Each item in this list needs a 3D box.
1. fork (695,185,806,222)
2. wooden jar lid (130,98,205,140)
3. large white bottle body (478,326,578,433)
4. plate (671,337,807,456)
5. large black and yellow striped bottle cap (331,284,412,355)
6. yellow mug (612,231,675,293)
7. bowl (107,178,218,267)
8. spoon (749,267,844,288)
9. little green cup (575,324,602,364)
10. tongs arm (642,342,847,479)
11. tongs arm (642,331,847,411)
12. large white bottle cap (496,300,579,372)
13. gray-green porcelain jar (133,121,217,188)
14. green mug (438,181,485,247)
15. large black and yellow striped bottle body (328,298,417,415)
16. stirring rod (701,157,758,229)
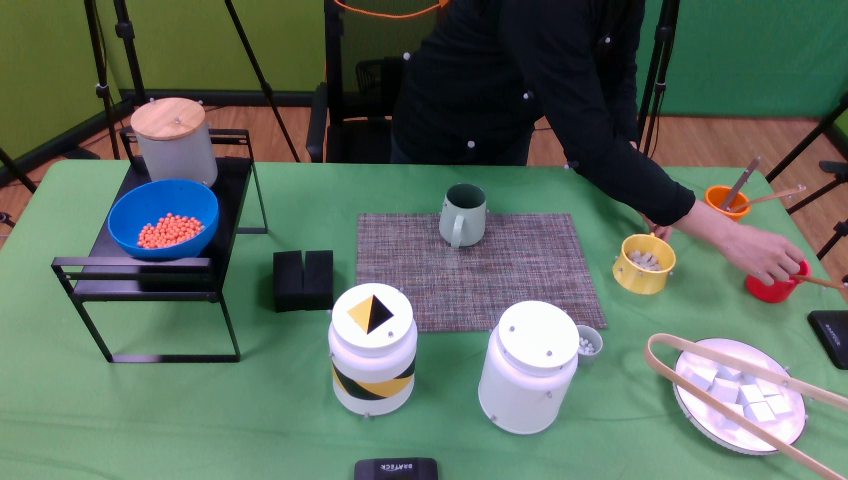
[{"bbox_3d":[0.657,-0.074,1.229,0.207,0.019,0.028,-23,35,37],"label":"fork"},{"bbox_3d":[-0.393,-0.183,0.934,0.108,0.021,0.107,3,44,-2],"label":"wooden jar lid"},{"bbox_3d":[0.156,0.192,0.913,0.131,0.185,0.130,2,46,-2],"label":"large white bottle body"},{"bbox_3d":[0.503,0.254,0.984,0.208,0.039,0.206,2,46,-2],"label":"plate"},{"bbox_3d":[-0.073,0.110,0.858,0.115,0.019,0.114,2,46,-2],"label":"large black and yellow striped bottle cap"},{"bbox_3d":[0.424,0.033,1.168,0.100,0.064,0.130,18,46,14],"label":"yellow mug"},{"bbox_3d":[-0.374,-0.014,0.893,0.151,0.077,0.150,2,46,-2],"label":"bowl"},{"bbox_3d":[0.671,0.067,1.100,0.042,0.021,0.193,-12,4,-13],"label":"spoon"},{"bbox_3d":[0.269,0.179,1.036,0.061,0.039,0.061,3,46,-3],"label":"little green cup"},{"bbox_3d":[0.504,0.278,0.918,0.386,0.028,0.028,34,59,22],"label":"tongs arm"},{"bbox_3d":[0.546,0.227,0.968,0.384,0.026,0.050,22,52,13],"label":"tongs arm"},{"bbox_3d":[0.159,0.133,0.852,0.115,0.018,0.114,3,46,-3],"label":"large white bottle cap"},{"bbox_3d":[-0.397,-0.141,0.980,0.106,0.127,0.105,2,47,-2],"label":"gray-green porcelain jar"},{"bbox_3d":[0.071,-0.039,1.177,0.092,0.105,0.124,12,47,7],"label":"green mug"},{"bbox_3d":[-0.078,0.167,0.920,0.131,0.185,0.130,2,46,-2],"label":"large black and yellow striped bottle body"},{"bbox_3d":[0.634,-0.097,1.257,0.014,0.006,0.176,38,97,29],"label":"stirring rod"}]
